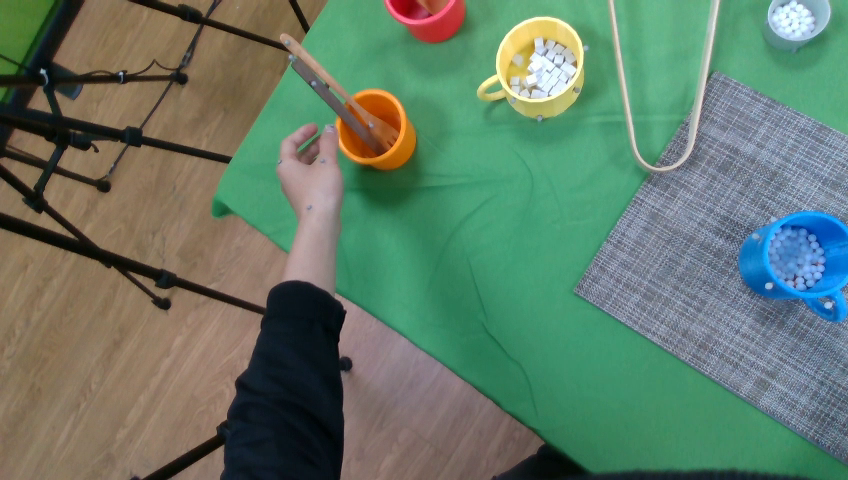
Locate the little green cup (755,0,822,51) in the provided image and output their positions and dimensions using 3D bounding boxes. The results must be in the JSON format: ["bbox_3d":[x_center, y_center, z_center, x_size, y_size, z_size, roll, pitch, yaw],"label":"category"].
[{"bbox_3d":[0.402,-0.242,0.673,0.061,0.039,0.061,-1,86,15],"label":"little green cup"}]

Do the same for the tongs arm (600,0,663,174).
[{"bbox_3d":[0.228,-0.266,0.699,0.050,0.026,0.384,-7,90,10],"label":"tongs arm"}]

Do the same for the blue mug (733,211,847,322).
[{"bbox_3d":[0.380,0.032,0.616,0.082,0.106,0.116,-33,78,9],"label":"blue mug"}]

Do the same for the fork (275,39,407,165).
[{"bbox_3d":[-0.097,-0.165,0.734,0.028,0.018,0.209,-46,120,6],"label":"fork"}]

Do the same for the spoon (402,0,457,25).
[{"bbox_3d":[-0.046,-0.305,0.738,0.195,0.021,0.041,9,85,-29],"label":"spoon"}]

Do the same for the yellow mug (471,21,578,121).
[{"bbox_3d":[0.118,-0.194,0.727,0.131,0.064,0.099,-21,81,13],"label":"yellow mug"}]

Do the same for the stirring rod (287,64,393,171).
[{"bbox_3d":[-0.099,-0.145,0.736,0.014,0.178,0.005,-51,31,-8],"label":"stirring rod"}]

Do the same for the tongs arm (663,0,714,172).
[{"bbox_3d":[0.311,-0.268,0.682,0.028,0.028,0.387,7,93,7],"label":"tongs arm"}]
